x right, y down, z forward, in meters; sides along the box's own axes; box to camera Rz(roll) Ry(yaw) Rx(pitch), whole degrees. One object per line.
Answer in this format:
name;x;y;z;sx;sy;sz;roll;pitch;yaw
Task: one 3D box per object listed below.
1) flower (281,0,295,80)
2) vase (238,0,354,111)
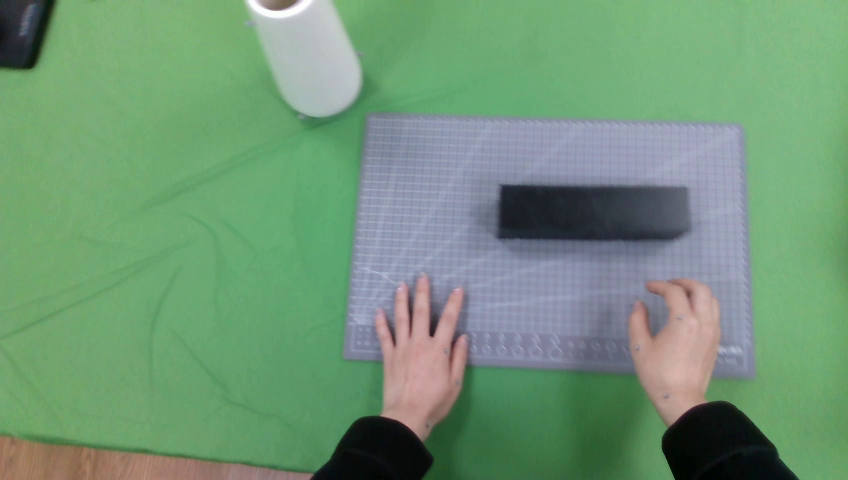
flower;-0.123;-0.241;0.573;0.038;0.362;0.044;20;71;-11
vase;-0.136;-0.220;0.654;0.098;0.201;0.097;0;76;2
